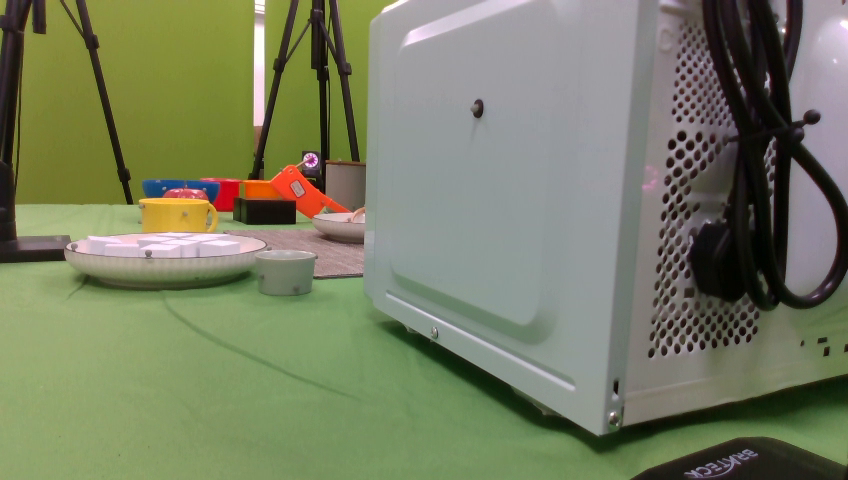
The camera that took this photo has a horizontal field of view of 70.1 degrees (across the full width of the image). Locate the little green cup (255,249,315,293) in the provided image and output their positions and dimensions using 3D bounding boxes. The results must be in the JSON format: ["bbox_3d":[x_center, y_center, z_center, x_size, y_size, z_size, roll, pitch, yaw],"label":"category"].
[{"bbox_3d":[-0.144,0.031,0.627,0.061,0.038,0.061,2,6,0],"label":"little green cup"}]

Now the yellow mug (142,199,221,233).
[{"bbox_3d":[-0.373,-0.030,0.948,0.099,0.064,0.131,6,8,30],"label":"yellow mug"}]

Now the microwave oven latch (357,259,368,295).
[{"bbox_3d":[-0.019,0.031,0.530,0.079,0.029,0.030,-1,7,-27],"label":"microwave oven latch"}]

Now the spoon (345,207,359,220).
[{"bbox_3d":[-0.126,-0.047,1.117,0.041,0.021,0.194,-2,18,14],"label":"spoon"}]

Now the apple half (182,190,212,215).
[{"bbox_3d":[-0.402,-0.054,1.090,0.033,0.081,0.081,0,7,12],"label":"apple half"}]

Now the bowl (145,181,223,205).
[{"bbox_3d":[-0.499,-0.081,1.261,0.151,0.077,0.151,2,8,0],"label":"bowl"}]

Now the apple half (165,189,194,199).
[{"bbox_3d":[-0.440,-0.055,1.097,0.053,0.074,0.081,0,10,12],"label":"apple half"}]

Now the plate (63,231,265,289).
[{"bbox_3d":[-0.288,0.021,0.687,0.208,0.039,0.207,2,8,0],"label":"plate"}]

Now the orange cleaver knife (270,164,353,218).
[{"bbox_3d":[-0.240,-0.088,1.329,0.212,0.077,0.012,36,-9,-33],"label":"orange cleaver knife"}]

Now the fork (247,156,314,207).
[{"bbox_3d":[-0.360,-0.147,1.522,0.207,0.018,0.028,-43,14,-7],"label":"fork"}]

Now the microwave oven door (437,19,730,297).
[{"bbox_3d":[0.181,-0.076,0.618,0.358,0.243,0.039,-2,9,-28],"label":"microwave oven door"}]

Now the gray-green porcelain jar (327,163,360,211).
[{"bbox_3d":[-0.187,-0.125,1.490,0.106,0.126,0.106,2,8,0],"label":"gray-green porcelain jar"}]

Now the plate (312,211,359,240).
[{"bbox_3d":[-0.091,-0.026,1.063,0.209,0.038,0.209,2,7,0],"label":"plate"}]

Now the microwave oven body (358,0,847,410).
[{"bbox_3d":[0.210,-0.051,0.471,0.444,0.260,0.324,-1,7,-28],"label":"microwave oven body"}]

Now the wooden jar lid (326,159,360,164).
[{"bbox_3d":[-0.185,-0.187,1.481,0.108,0.020,0.108,4,6,0],"label":"wooden jar lid"}]
